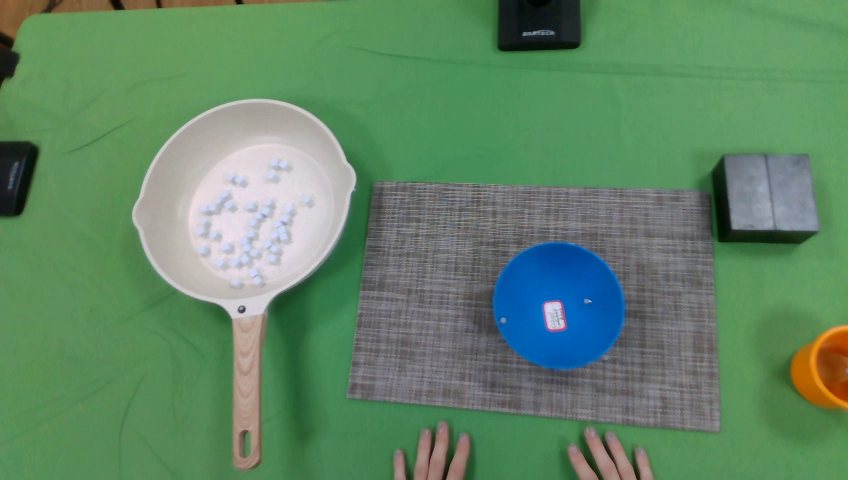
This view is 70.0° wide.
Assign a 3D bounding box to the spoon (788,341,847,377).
[{"bbox_3d":[0.494,0.132,0.641,0.022,0.193,0.041,24,72,-32],"label":"spoon"}]

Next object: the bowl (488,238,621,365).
[{"bbox_3d":[0.155,0.080,0.733,0.151,0.077,0.150,-2,73,7],"label":"bowl"}]

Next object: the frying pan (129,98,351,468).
[{"bbox_3d":[-0.232,0.041,0.786,0.307,0.103,0.483,-9,64,5],"label":"frying pan"}]
